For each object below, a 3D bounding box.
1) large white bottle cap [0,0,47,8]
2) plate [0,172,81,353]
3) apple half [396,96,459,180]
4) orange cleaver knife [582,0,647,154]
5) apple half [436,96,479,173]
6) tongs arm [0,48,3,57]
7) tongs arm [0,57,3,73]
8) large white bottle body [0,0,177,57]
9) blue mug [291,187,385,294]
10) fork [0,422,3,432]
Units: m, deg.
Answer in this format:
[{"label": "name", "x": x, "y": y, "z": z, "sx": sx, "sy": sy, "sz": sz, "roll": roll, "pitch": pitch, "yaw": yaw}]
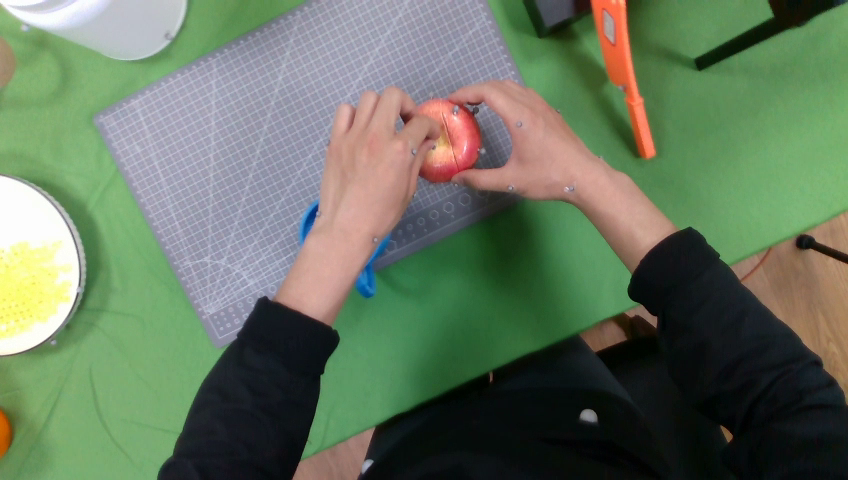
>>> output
[{"label": "large white bottle cap", "x": -0.340, "y": -0.251, "z": 0.495, "sx": 0.115, "sy": 0.018, "sz": 0.115, "roll": 0, "pitch": 96, "yaw": 2}, {"label": "plate", "x": -0.489, "y": 0.024, "z": 0.686, "sx": 0.209, "sy": 0.038, "sz": 0.209, "roll": 0, "pitch": 97, "yaw": 1}, {"label": "apple half", "x": 0.000, "y": -0.096, "z": 0.600, "sx": 0.053, "sy": 0.074, "sz": 0.081, "roll": -16, "pitch": 101, "yaw": 9}, {"label": "orange cleaver knife", "x": 0.194, "y": -0.184, "z": 0.628, "sx": 0.012, "sy": 0.076, "sz": 0.213, "roll": -27, "pitch": 126, "yaw": 3}, {"label": "apple half", "x": 0.037, "y": -0.107, "z": 0.595, "sx": 0.033, "sy": 0.081, "sz": 0.081, "roll": -17, "pitch": 95, "yaw": 10}, {"label": "tongs arm", "x": -0.625, "y": -0.258, "z": 0.627, "sx": 0.387, "sy": 0.028, "sz": 0.028, "roll": 16, "pitch": 90, "yaw": 1}, {"label": "tongs arm", "x": -0.635, "y": -0.175, "z": 0.635, "sx": 0.385, "sy": 0.026, "sz": 0.051, "roll": 2, "pitch": 93, "yaw": 3}, {"label": "large white bottle body", "x": -0.337, "y": -0.259, "z": 0.579, "sx": 0.130, "sy": 0.184, "sz": 0.130, "roll": 0, "pitch": 95, "yaw": 2}, {"label": "blue mug", "x": -0.082, "y": 0.001, "z": 0.641, "sx": 0.082, "sy": 0.105, "sz": 0.116, "roll": -18, "pitch": 95, "yaw": 3}, {"label": "fork", "x": -0.581, "y": 0.236, "z": 0.655, "sx": 0.208, "sy": 0.018, "sz": 0.028, "roll": -14, "pitch": 96, "yaw": -41}]
